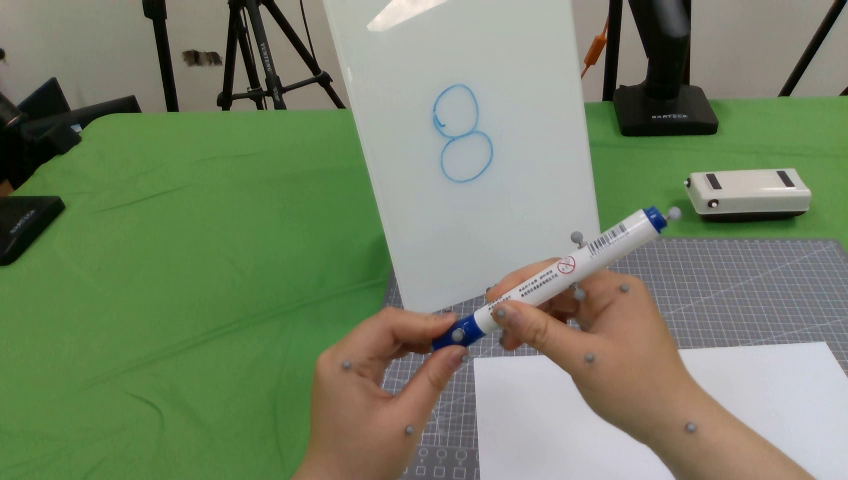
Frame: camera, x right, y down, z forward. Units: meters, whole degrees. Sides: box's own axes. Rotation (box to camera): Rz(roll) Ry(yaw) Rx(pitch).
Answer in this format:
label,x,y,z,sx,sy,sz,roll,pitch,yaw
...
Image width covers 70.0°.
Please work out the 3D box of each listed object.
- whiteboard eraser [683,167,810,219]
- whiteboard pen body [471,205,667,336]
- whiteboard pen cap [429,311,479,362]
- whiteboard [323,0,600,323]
label,x,y,z,sx,sy,sz,roll,pitch,yaw
whiteboard eraser,0.342,-0.049,0.647,0.112,0.042,0.055,-1,42,6
whiteboard pen body,0.066,0.024,0.330,0.141,0.017,0.017,-35,34,22
whiteboard pen cap,0.020,0.055,0.352,0.033,0.018,0.018,-38,38,15
whiteboard,0.032,-0.112,0.605,0.217,0.307,0.142,-18,20,-12
